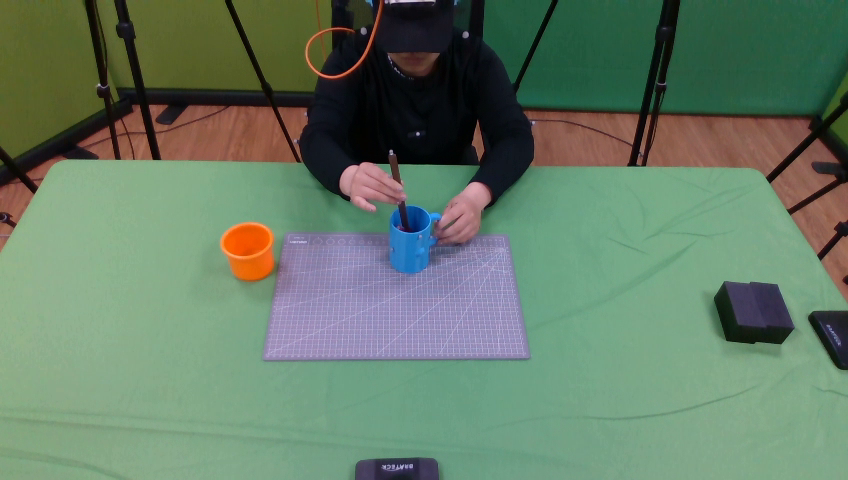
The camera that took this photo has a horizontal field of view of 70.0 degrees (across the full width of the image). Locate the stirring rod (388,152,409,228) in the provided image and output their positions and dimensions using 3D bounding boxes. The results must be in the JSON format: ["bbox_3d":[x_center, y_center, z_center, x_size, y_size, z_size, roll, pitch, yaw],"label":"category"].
[{"bbox_3d":[-0.044,-0.084,1.063,0.014,0.177,0.006,8,49,15],"label":"stirring rod"}]

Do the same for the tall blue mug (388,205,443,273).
[{"bbox_3d":[-0.020,-0.010,1.144,0.077,0.108,0.107,23,49,18],"label":"tall blue mug"}]
